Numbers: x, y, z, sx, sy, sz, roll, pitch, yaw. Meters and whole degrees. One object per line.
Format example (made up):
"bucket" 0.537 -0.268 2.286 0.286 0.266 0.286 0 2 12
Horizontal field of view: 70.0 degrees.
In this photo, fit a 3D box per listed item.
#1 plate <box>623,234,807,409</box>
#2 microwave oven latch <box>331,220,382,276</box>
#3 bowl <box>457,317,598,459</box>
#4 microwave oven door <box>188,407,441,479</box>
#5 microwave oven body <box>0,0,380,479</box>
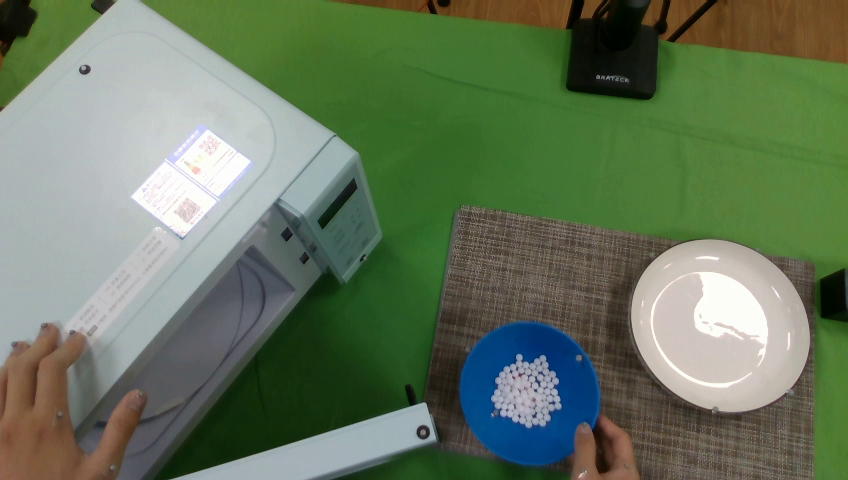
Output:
"plate" 0.339 0.096 0.721 0.208 0.039 0.206 0 72 1
"microwave oven latch" -0.084 0.005 0.746 0.030 0.029 0.079 37 77 12
"bowl" 0.112 0.167 0.683 0.151 0.077 0.150 0 73 2
"microwave oven door" -0.160 0.223 0.571 0.356 0.245 0.039 -16 72 -4
"microwave oven body" -0.312 0.028 0.643 0.324 0.261 0.441 35 77 11
